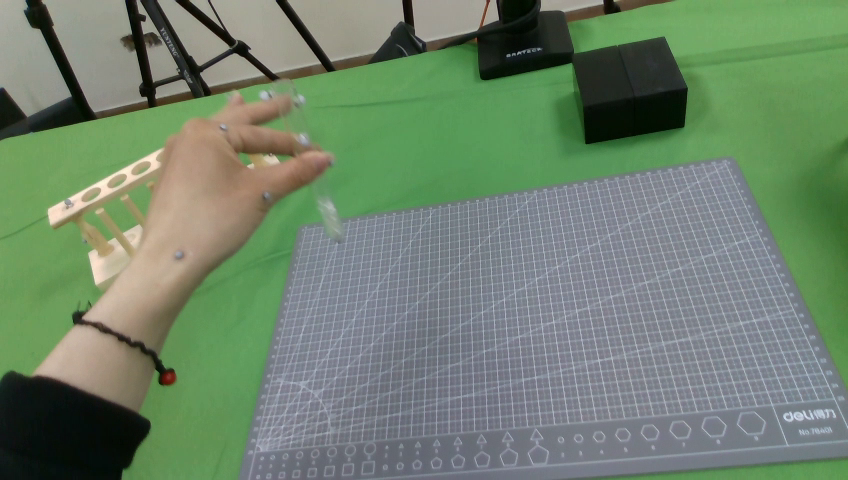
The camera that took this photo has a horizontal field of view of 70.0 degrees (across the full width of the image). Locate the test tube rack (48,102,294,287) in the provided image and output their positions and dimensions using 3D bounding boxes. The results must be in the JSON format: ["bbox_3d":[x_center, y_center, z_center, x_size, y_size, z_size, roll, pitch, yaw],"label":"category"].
[{"bbox_3d":[-0.281,-0.054,0.690,0.242,0.086,0.066,-32,47,-12],"label":"test tube rack"}]

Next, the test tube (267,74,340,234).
[{"bbox_3d":[-0.083,-0.054,0.438,0.017,0.152,0.017,-4,52,5],"label":"test tube"}]
